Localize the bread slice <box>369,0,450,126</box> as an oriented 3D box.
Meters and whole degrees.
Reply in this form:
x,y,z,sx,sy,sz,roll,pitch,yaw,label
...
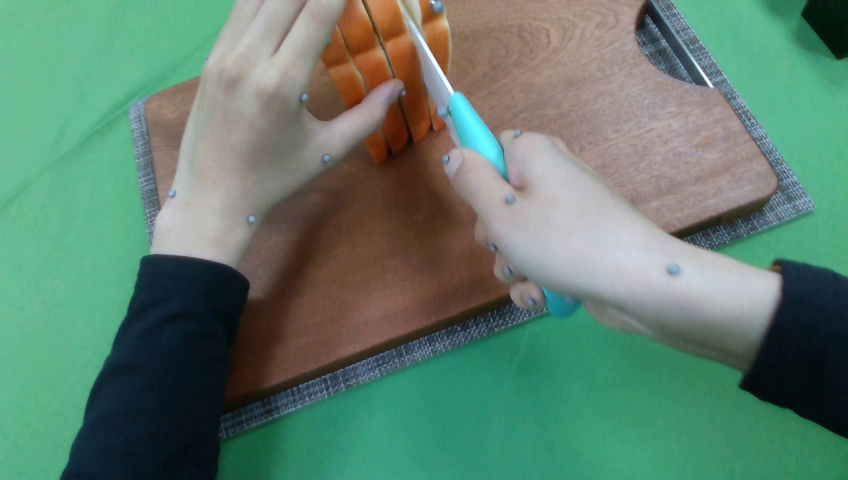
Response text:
x,y,z,sx,sy,sz,roll,pitch,yaw,label
-0.012,-0.152,0.399,0.019,0.132,0.104,-25,66,-9,bread slice

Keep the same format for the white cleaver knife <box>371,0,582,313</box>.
x,y,z,sx,sy,sz,roll,pitch,yaw,label
0.015,-0.083,0.364,0.021,0.066,0.284,-26,71,-3,white cleaver knife

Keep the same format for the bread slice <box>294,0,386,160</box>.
x,y,z,sx,sy,sz,roll,pitch,yaw,label
-0.062,-0.130,0.398,0.018,0.135,0.106,-26,62,-2,bread slice
